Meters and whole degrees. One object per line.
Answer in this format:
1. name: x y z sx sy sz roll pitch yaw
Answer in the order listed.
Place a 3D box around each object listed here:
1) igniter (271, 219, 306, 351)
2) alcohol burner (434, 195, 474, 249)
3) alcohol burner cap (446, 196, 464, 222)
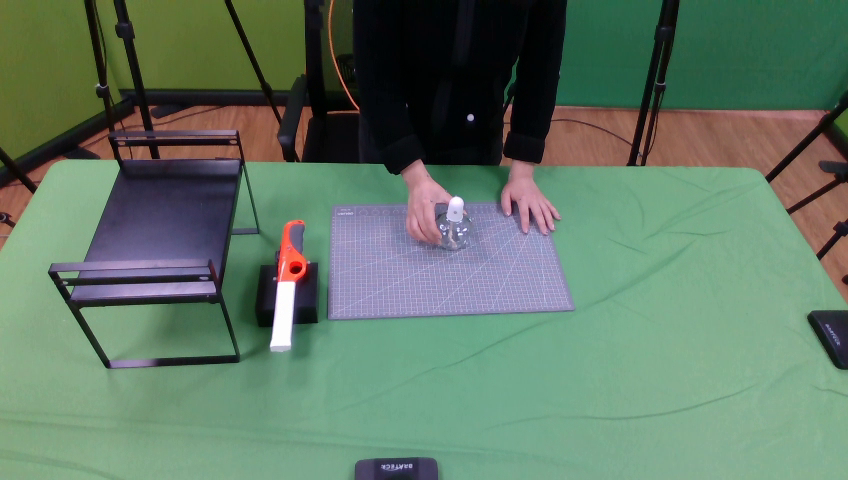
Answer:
1. igniter: -0.235 0.067 1.047 0.057 0.025 0.274 0 49 -6
2. alcohol burner: 0.059 -0.040 1.168 0.078 0.119 0.077 4 45 -4
3. alcohol burner cap: 0.060 -0.062 1.146 0.034 0.048 0.033 5 44 -4
